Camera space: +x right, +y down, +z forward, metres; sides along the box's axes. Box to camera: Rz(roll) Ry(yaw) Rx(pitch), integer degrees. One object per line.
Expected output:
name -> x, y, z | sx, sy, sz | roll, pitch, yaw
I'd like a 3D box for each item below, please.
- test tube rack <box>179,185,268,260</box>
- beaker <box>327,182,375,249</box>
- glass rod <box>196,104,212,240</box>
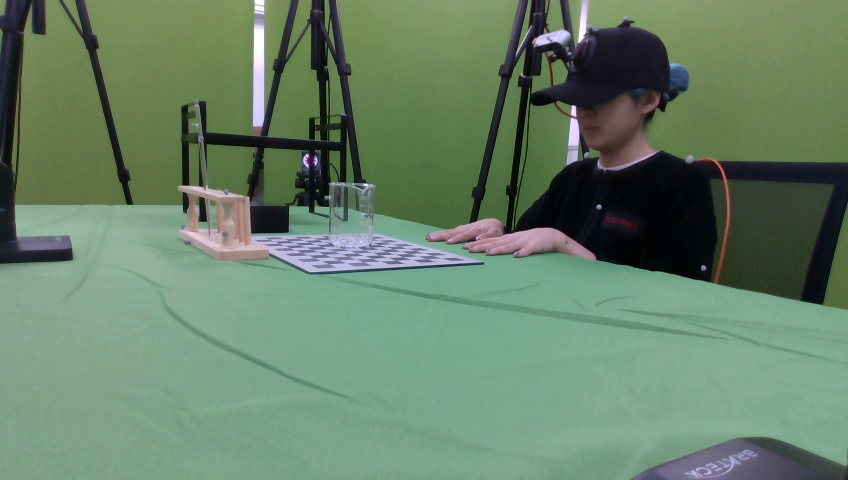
test tube rack -> -0.303, -0.031, 0.898 | 0.067, 0.085, 0.241 | -2, 9, -33
beaker -> -0.114, -0.038, 0.950 | 0.074, 0.100, 0.083 | -2, 9, -31
glass rod -> -0.317, -0.095, 0.871 | 0.008, 0.199, 0.008 | -4, 4, 1
